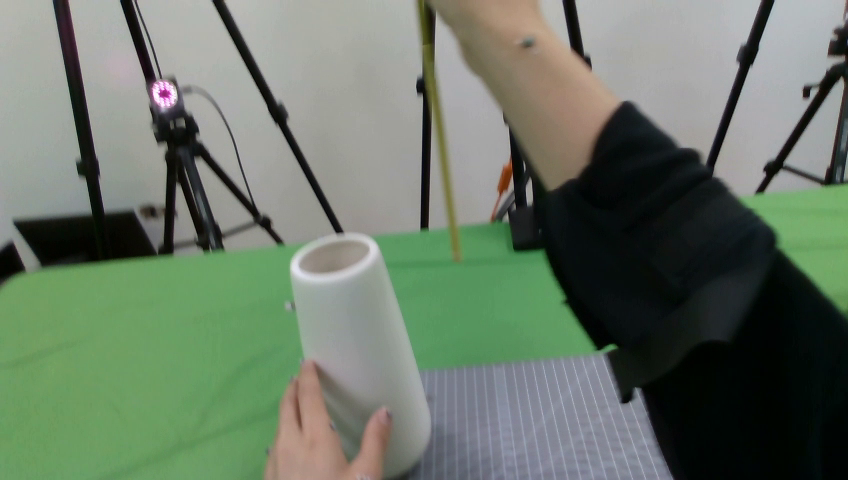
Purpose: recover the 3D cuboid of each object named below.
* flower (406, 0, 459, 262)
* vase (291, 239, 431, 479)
[{"bbox_3d":[-0.008,-0.147,0.332,0.038,0.364,0.044,-3,26,14],"label":"flower"},{"bbox_3d":[-0.052,0.101,0.503,0.098,0.201,0.097,-6,26,4],"label":"vase"}]
